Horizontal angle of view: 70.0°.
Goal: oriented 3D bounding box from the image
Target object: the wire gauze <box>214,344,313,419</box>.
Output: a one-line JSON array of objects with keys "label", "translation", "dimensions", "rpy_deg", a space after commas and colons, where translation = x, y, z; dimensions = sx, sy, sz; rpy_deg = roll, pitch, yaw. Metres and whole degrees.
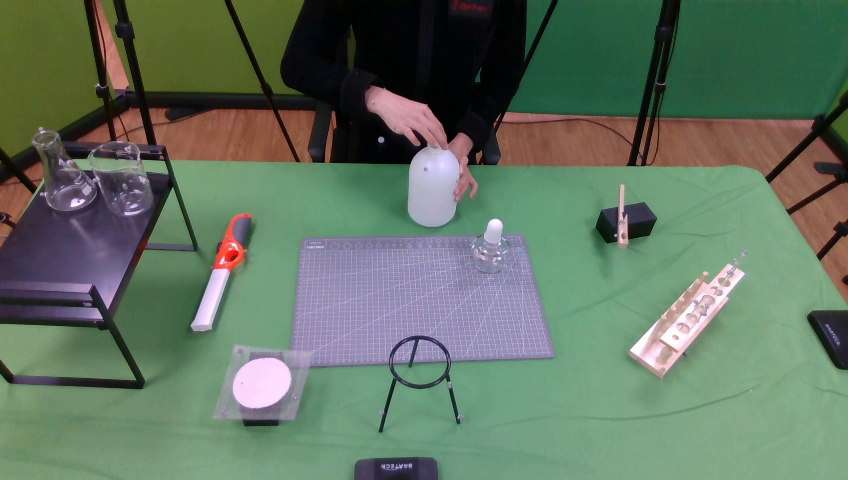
[{"label": "wire gauze", "translation": [-0.241, 0.213, 0.916], "dimensions": [0.121, 0.011, 0.124], "rpy_deg": [5, 46, 1]}]

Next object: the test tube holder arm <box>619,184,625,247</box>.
[{"label": "test tube holder arm", "translation": [0.396, -0.053, 1.210], "dimensions": [0.013, 0.015, 0.177], "rpy_deg": [14, 46, 2]}]

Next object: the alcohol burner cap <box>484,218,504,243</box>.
[{"label": "alcohol burner cap", "translation": [0.130, -0.021, 1.106], "dimensions": [0.034, 0.048, 0.033], "rpy_deg": [3, 51, -3]}]

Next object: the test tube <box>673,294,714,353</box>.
[{"label": "test tube", "translation": [0.428, 0.137, 0.978], "dimensions": [0.017, 0.151, 0.017], "rpy_deg": [4, 47, -4]}]

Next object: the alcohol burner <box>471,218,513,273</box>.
[{"label": "alcohol burner", "translation": [0.128, 0.005, 1.132], "dimensions": [0.078, 0.120, 0.077], "rpy_deg": [0, 47, 0]}]

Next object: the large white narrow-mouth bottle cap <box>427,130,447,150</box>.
[{"label": "large white narrow-mouth bottle cap", "translation": [0.025, -0.187, 1.130], "dimensions": [0.038, 0.024, 0.037], "rpy_deg": [2, 46, -2]}]

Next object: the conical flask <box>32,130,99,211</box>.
[{"label": "conical flask", "translation": [-0.565, -0.111, 0.944], "dimensions": [0.075, 0.122, 0.075], "rpy_deg": [2, 46, -2]}]

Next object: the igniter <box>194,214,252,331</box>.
[{"label": "igniter", "translation": [-0.367, 0.050, 1.119], "dimensions": [0.057, 0.025, 0.275], "rpy_deg": [-4, 46, 7]}]

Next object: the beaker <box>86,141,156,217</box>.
[{"label": "beaker", "translation": [-0.467, -0.092, 0.949], "dimensions": [0.084, 0.101, 0.073], "rpy_deg": [15, 47, 11]}]

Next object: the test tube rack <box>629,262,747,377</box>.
[{"label": "test tube rack", "translation": [0.464, 0.126, 1.060], "dimensions": [0.242, 0.085, 0.066], "rpy_deg": [-34, 56, -30]}]

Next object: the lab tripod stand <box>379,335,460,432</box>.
[{"label": "lab tripod stand", "translation": [-0.011, 0.214, 0.911], "dimensions": [0.148, 0.132, 0.147], "rpy_deg": [1, 45, 0]}]

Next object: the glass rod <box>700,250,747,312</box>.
[{"label": "glass rod", "translation": [0.500, 0.075, 1.021], "dimensions": [0.008, 0.201, 0.008], "rpy_deg": [0, 54, 1]}]

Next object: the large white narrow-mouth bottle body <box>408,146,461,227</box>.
[{"label": "large white narrow-mouth bottle body", "translation": [0.021, -0.124, 1.198], "dimensions": [0.102, 0.195, 0.101], "rpy_deg": [2, 46, -2]}]

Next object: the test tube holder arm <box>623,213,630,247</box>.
[{"label": "test tube holder arm", "translation": [0.393, -0.020, 1.179], "dimensions": [0.010, 0.015, 0.087], "rpy_deg": [13, 46, 1]}]
